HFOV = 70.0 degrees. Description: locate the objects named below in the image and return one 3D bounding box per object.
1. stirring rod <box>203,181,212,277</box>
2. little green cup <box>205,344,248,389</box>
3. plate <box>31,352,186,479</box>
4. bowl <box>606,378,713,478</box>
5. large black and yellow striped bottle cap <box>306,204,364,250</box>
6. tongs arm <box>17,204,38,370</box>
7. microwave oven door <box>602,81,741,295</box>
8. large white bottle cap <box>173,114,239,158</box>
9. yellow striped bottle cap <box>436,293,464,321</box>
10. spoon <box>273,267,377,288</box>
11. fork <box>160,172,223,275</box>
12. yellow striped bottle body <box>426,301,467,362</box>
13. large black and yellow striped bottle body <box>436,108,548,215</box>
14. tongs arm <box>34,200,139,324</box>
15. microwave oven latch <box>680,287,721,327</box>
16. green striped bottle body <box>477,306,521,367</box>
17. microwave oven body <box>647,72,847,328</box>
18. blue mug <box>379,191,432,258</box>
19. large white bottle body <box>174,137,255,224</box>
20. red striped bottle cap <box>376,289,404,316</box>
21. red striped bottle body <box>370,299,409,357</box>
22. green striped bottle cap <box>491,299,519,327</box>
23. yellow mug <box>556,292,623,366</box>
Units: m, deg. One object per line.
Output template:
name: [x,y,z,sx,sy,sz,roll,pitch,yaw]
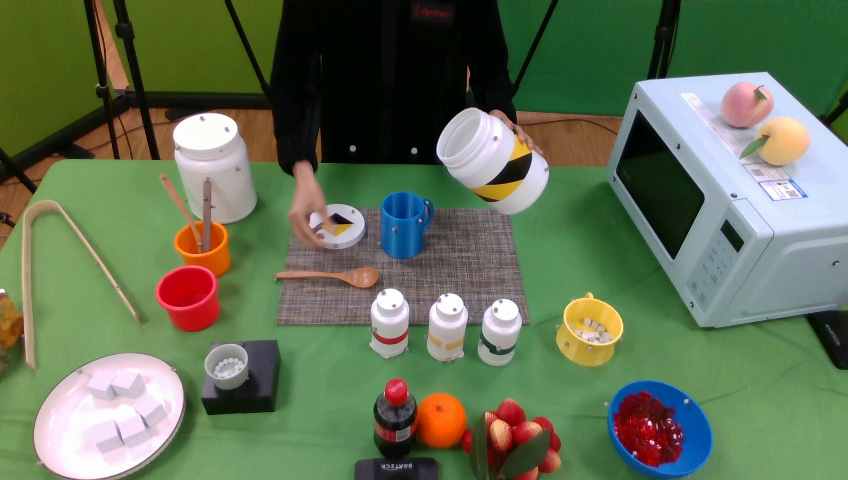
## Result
stirring rod: [-0.396,-0.021,1.108,0.014,0.006,0.176,-1,89,-1]
little green cup: [-0.294,0.191,0.909,0.061,0.039,0.061,1,48,-1]
plate: [-0.459,0.262,0.898,0.209,0.038,0.208,2,45,-2]
bowl: [0.340,0.292,0.906,0.151,0.077,0.150,2,46,-2]
large black and yellow striped bottle cap: [-0.178,-0.028,1.210,0.115,0.019,0.114,2,48,-2]
tongs arm: [-0.698,0.069,1.068,0.028,0.028,0.385,-20,50,-13]
microwave oven door: [0.456,-0.107,1.162,0.039,0.245,0.353,-7,47,-11]
large white bottle cap: [-0.403,-0.195,1.122,0.115,0.018,0.114,2,47,-2]
yellow striped bottle cap: [0.041,0.106,0.959,0.044,0.019,0.044,-1,49,1]
spoon: [-0.183,0.065,1.115,0.194,0.022,0.041,3,68,-1]
fork: [-0.425,-0.030,1.103,0.028,0.018,0.207,-29,98,-19]
yellow striped bottle body: [0.037,0.142,0.996,0.063,0.121,0.062,2,46,-2]
large black and yellow striped bottle body: [0.122,-0.143,1.098,0.185,0.131,0.130,33,35,-32]
tongs arm: [-0.622,0.034,1.105,0.051,0.026,0.382,-32,55,-26]
microwave oven latch: [0.494,0.119,1.087,0.030,0.029,0.078,-6,46,-10]
green striped bottle body: [0.124,0.151,0.995,0.063,0.120,0.063,2,46,-2]
microwave oven body: [0.607,-0.089,1.164,0.326,0.261,0.438,-7,46,-10]
blue mug: [-0.031,-0.035,1.167,0.116,0.106,0.082,-27,54,-27]
large white bottle body: [-0.409,-0.137,1.183,0.131,0.185,0.130,2,46,-2]
red striped bottle cap: [-0.054,0.098,0.958,0.044,0.018,0.044,0,48,0]
red striped bottle body: [-0.057,0.135,0.997,0.063,0.120,0.062,2,47,-2]
green striped bottle cap: [0.128,0.115,0.958,0.044,0.020,0.044,1,47,-1]
yellow mug: [0.285,0.145,1.051,0.100,0.064,0.130,7,45,3]
